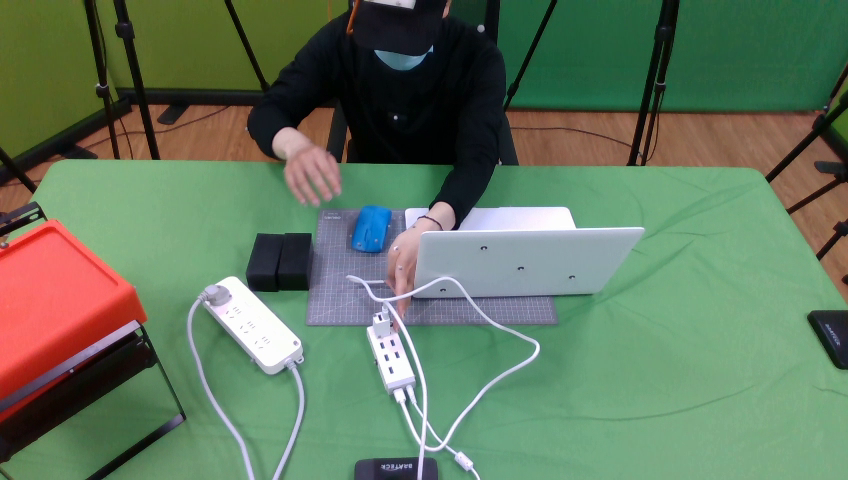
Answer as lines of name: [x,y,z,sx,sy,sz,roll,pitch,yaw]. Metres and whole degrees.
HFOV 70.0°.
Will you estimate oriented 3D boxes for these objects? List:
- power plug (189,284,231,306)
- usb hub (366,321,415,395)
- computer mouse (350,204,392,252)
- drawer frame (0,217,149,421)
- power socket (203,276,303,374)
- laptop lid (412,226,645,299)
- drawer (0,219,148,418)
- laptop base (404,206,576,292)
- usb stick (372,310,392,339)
power plug: [-0.367,0.100,1.037,0.072,0.053,0.035,-24,54,-26]
usb hub: [-0.056,0.194,1.007,0.049,0.025,0.124,-13,49,-15]
computer mouse: [-0.104,-0.027,1.201,0.063,0.041,0.116,11,51,3]
drawer frame: [-0.510,0.093,0.780,0.201,0.083,0.213,31,52,23]
power socket: [-0.296,0.141,1.034,0.072,0.033,0.225,-35,58,-30]
laptop lid: [0.161,0.042,1.012,0.357,0.242,0.013,0,60,-7]
drawer: [-0.509,0.093,0.783,0.193,0.073,0.211,32,53,24]
laptop base: [0.143,0.018,1.196,0.355,0.023,0.234,-1,43,-6]
usb stick: [-0.070,0.146,1.008,0.027,0.059,0.021,-13,40,-25]
